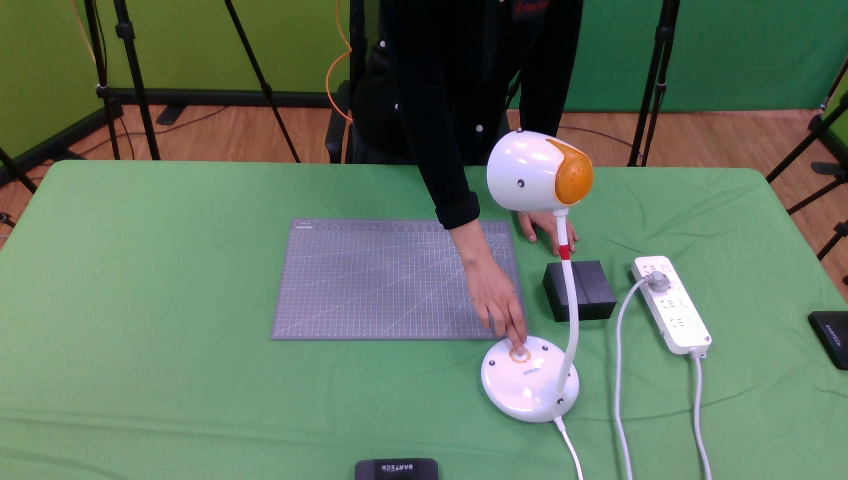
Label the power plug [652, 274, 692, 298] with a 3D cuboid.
[{"bbox_3d":[0.446,0.093,1.102,0.035,0.053,0.072,-26,56,-6],"label":"power plug"}]

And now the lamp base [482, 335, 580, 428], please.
[{"bbox_3d":[0.185,0.177,0.928,0.161,0.181,0.178,-22,53,-23],"label":"lamp base"}]

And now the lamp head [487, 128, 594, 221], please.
[{"bbox_3d":[0.160,-0.084,0.792,0.112,0.113,0.122,-24,28,-25],"label":"lamp head"}]

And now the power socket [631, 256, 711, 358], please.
[{"bbox_3d":[0.449,0.115,1.112,0.072,0.033,0.225,-4,47,-6],"label":"power socket"}]
